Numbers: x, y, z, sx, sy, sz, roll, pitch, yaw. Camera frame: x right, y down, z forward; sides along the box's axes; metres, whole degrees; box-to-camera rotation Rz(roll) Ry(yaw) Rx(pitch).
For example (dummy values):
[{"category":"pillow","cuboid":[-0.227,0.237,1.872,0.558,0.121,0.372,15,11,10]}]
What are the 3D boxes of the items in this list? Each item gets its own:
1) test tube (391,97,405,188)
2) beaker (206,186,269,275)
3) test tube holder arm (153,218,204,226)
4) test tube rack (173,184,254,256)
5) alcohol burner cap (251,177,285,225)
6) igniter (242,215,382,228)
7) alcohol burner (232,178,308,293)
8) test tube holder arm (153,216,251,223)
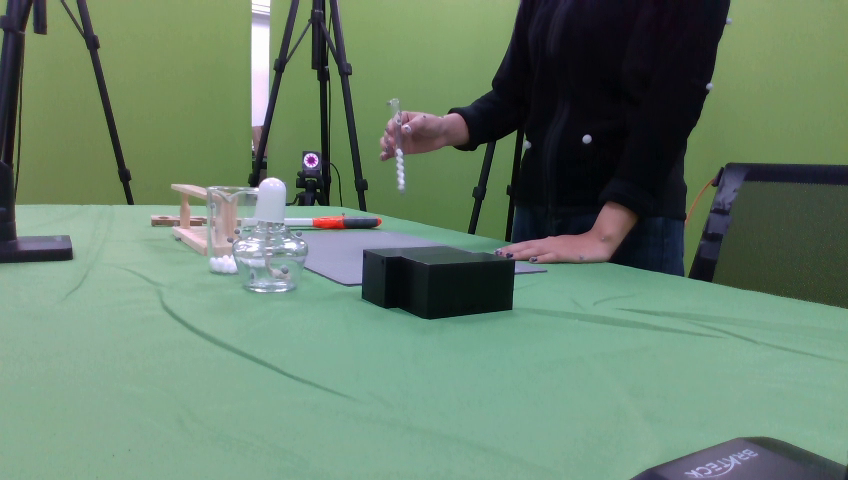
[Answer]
[{"category":"test tube","cuboid":[-0.042,-0.156,0.969,0.017,0.150,0.017,-3,-7,0]},{"category":"beaker","cuboid":[-0.220,-0.011,0.717,0.074,0.100,0.084,2,8,-3]},{"category":"test tube holder arm","cuboid":[-0.459,-0.034,1.132,0.088,0.015,0.010,-1,43,-30]},{"category":"test tube rack","cuboid":[-0.328,-0.036,0.927,0.067,0.085,0.241,-2,9,-32]},{"category":"alcohol burner cap","cuboid":[-0.160,-0.041,0.628,0.034,0.048,0.034,9,6,-1]},{"category":"igniter","cuboid":[-0.212,-0.036,1.186,0.278,0.025,0.057,-2,-1,-31]},{"category":"alcohol burner","cuboid":[-0.161,-0.006,0.632,0.078,0.119,0.078,1,9,0]},{"category":"test tube holder arm","cuboid":[-0.422,-0.039,1.159,0.179,0.015,0.013,-2,43,-31]}]
